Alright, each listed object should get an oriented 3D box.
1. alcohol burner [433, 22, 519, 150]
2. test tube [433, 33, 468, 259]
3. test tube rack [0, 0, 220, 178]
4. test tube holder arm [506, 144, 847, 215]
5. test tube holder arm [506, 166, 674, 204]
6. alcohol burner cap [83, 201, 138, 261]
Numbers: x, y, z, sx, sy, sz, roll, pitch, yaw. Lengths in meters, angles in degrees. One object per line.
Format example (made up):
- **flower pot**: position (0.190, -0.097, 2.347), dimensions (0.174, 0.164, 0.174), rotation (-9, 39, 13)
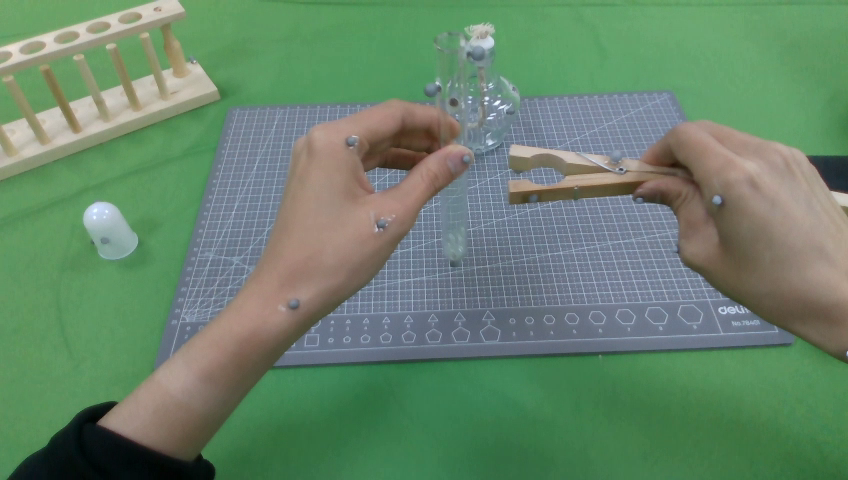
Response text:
- **alcohol burner**: position (0.047, -0.139, 0.535), dimensions (0.078, 0.120, 0.077), rotation (0, 51, 0)
- **test tube**: position (0.015, -0.040, 0.321), dimensions (0.017, 0.151, 0.017), rotation (-1, 50, 2)
- **test tube rack**: position (-0.330, -0.142, 0.569), dimensions (0.242, 0.086, 0.066), rotation (-27, 54, -20)
- **test tube holder arm**: position (0.133, -0.033, 0.324), dimensions (0.178, 0.015, 0.013), rotation (8, 66, 9)
- **test tube holder arm**: position (0.088, -0.031, 0.327), dimensions (0.088, 0.015, 0.010), rotation (-6, 63, 2)
- **alcohol burner cap**: position (-0.254, -0.010, 0.484), dimensions (0.034, 0.048, 0.033), rotation (0, 49, 1)
